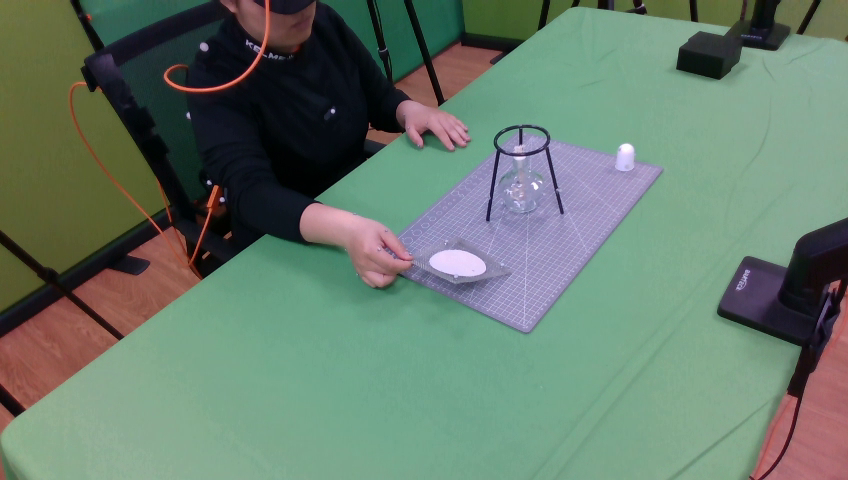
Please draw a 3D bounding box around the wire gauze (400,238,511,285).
[{"bbox_3d":[0.048,0.033,0.909,0.126,0.011,0.120,-13,32,-39],"label":"wire gauze"}]

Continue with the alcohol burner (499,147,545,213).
[{"bbox_3d":[0.161,-0.104,1.001,0.078,0.120,0.077,-6,42,6],"label":"alcohol burner"}]

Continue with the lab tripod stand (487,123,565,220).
[{"bbox_3d":[0.162,-0.110,0.992,0.148,0.132,0.147,-5,42,5],"label":"lab tripod stand"}]

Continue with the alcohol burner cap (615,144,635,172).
[{"bbox_3d":[0.357,-0.147,1.069,0.034,0.048,0.033,-6,40,6],"label":"alcohol burner cap"}]
